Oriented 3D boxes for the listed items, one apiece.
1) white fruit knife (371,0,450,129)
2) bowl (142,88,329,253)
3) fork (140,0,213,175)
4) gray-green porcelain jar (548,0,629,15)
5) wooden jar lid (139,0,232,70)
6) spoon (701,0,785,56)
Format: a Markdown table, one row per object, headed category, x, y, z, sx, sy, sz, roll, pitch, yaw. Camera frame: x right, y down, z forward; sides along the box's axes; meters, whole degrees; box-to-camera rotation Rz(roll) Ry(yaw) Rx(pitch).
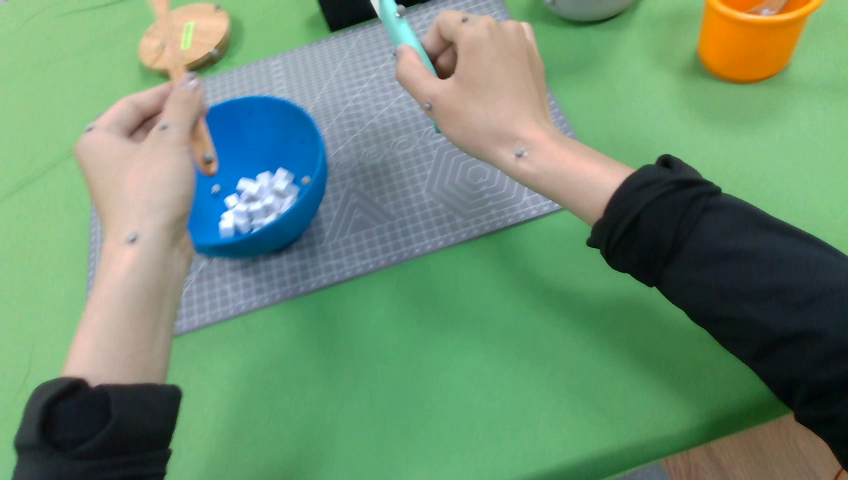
| category | x | y | z | sx | sy | sz | roll | pitch | yaw |
| --- | --- | --- | --- | --- | --- | --- | --- | --- | --- |
| white fruit knife | -0.030 | -0.175 | 0.448 | 0.016 | 0.027 | 0.206 | -20 | 74 | -26 |
| bowl | -0.143 | -0.044 | 0.506 | 0.151 | 0.077 | 0.150 | -6 | 59 | 10 |
| fork | -0.178 | -0.137 | 0.416 | 0.028 | 0.018 | 0.206 | -15 | 74 | -28 |
| gray-green porcelain jar | 0.155 | -0.283 | 0.556 | 0.105 | 0.128 | 0.105 | -6 | 59 | 10 |
| wooden jar lid | -0.265 | -0.231 | 0.681 | 0.108 | 0.021 | 0.107 | -5 | 59 | 8 |
| spoon | 0.304 | -0.212 | 0.468 | 0.022 | 0.194 | 0.041 | 10 | 56 | -34 |
